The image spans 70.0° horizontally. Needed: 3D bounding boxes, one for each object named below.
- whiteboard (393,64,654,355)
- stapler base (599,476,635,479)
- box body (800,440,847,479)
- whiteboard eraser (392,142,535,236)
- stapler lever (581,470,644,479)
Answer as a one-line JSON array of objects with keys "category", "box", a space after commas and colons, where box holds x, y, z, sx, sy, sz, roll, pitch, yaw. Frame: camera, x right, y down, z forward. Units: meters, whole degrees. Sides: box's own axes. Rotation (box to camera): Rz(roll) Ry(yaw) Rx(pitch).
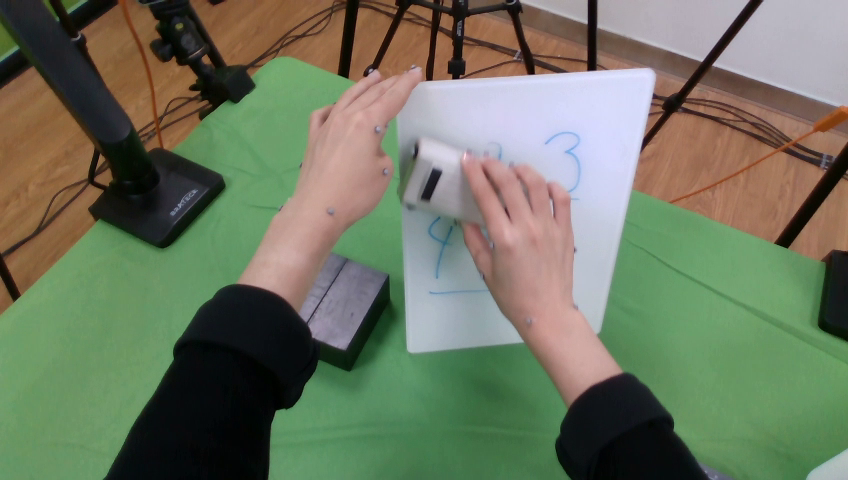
[{"category": "whiteboard", "box": [0.077, -0.049, 0.627, 0.217, 0.308, 0.142, -4, 36, -5]}, {"category": "stapler base", "box": [0.142, 0.243, 0.560, 0.131, 0.024, 0.041, -6, 51, -3]}, {"category": "box body", "box": [0.523, 0.289, 0.464, 0.254, 0.162, 0.360, -15, 57, -13]}, {"category": "whiteboard eraser", "box": [0.034, -0.043, 0.516, 0.113, 0.056, 0.041, 14, 35, -17]}, {"category": "stapler lever", "box": [0.140, 0.228, 0.540, 0.118, 0.040, 0.026, -6, 51, -3]}]
